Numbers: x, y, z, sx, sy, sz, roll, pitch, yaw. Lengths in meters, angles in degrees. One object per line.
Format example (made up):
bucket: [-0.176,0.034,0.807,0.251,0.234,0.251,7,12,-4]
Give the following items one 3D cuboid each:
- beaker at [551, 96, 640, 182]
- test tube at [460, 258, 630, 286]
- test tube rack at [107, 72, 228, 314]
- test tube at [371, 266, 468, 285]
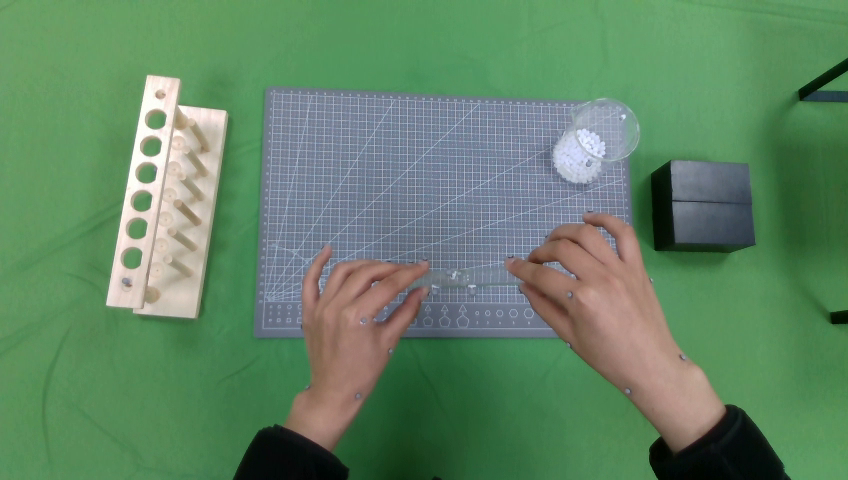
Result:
beaker: [0.193,-0.115,0.710,0.084,0.100,0.074,32,77,2]
test tube: [0.104,0.027,0.515,0.151,0.017,0.017,-3,79,-10]
test tube rack: [-0.270,-0.047,0.653,0.067,0.085,0.241,6,79,-5]
test tube: [-0.009,0.034,0.567,0.017,0.149,0.017,3,85,-33]
